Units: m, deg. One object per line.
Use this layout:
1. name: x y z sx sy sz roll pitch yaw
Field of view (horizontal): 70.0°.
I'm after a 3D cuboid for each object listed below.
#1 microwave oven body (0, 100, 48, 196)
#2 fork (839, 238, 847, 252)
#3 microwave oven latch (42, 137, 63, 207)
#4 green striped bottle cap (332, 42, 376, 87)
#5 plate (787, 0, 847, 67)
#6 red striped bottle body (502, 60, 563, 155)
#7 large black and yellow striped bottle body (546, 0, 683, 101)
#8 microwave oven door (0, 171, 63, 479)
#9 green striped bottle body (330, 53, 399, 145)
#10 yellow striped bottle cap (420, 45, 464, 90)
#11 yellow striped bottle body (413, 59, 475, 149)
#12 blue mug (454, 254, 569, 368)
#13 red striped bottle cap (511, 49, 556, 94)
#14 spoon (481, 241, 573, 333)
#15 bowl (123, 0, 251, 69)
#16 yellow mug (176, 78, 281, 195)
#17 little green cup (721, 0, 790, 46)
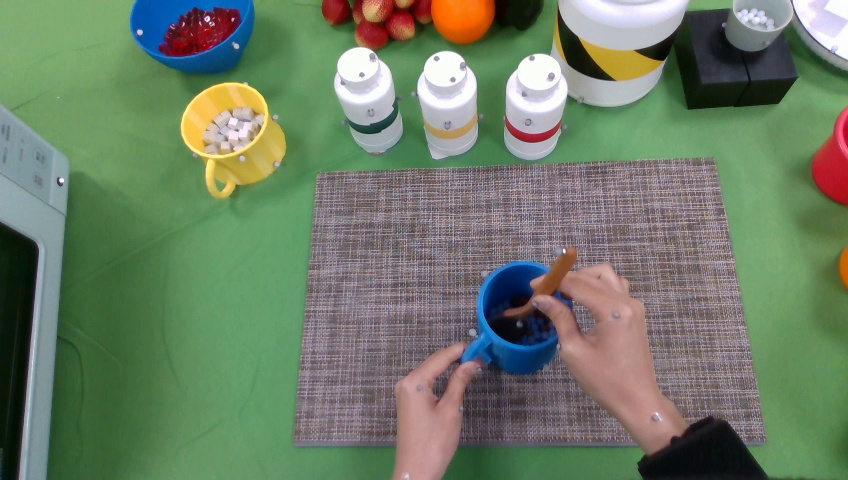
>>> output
1. microwave oven body: -0.564 0.075 0.546 0.326 0.262 0.438 -10 69 1
2. fork: 0.472 0.030 0.531 0.028 0.019 0.205 -39 26 -9
3. microwave oven latch: -0.437 -0.077 0.697 0.030 0.030 0.078 -9 69 1
4. green striped bottle cap: -0.072 -0.181 0.623 0.044 0.020 0.044 -1 68 3
5. plate: 0.523 -0.277 0.706 0.209 0.038 0.207 -2 69 5
6. red striped bottle body: 0.115 -0.147 0.649 0.063 0.120 0.062 -3 67 7
7. large black and yellow striped bottle body: 0.203 -0.252 0.647 0.130 0.185 0.130 -2 68 5
8. microwave oven door: -0.414 0.086 0.522 0.039 0.245 0.353 -11 68 2
9. green striped bottle body: -0.066 -0.161 0.672 0.063 0.120 0.062 -2 68 5
10. yellow striped bottle cap: 0.018 -0.175 0.613 0.044 0.019 0.044 -1 70 4
11. yellow striped bottle body: 0.023 -0.156 0.661 0.063 0.121 0.062 -2 68 6
12. blue mug: 0.076 0.080 0.569 0.116 0.106 0.081 -37 69 -9
13. red striped bottle cap: 0.109 -0.168 0.601 0.044 0.018 0.044 0 67 1
14. spoon: 0.087 0.046 0.514 0.042 0.194 0.021 15 66 -5
15. bowl: -0.280 -0.268 0.755 0.151 0.077 0.150 -1 69 4
16. yellow mug: -0.227 -0.114 0.696 0.100 0.064 0.130 8 70 7
17. little green cup: 0.354 -0.243 0.653 0.061 0.039 0.061 -1 66 2
